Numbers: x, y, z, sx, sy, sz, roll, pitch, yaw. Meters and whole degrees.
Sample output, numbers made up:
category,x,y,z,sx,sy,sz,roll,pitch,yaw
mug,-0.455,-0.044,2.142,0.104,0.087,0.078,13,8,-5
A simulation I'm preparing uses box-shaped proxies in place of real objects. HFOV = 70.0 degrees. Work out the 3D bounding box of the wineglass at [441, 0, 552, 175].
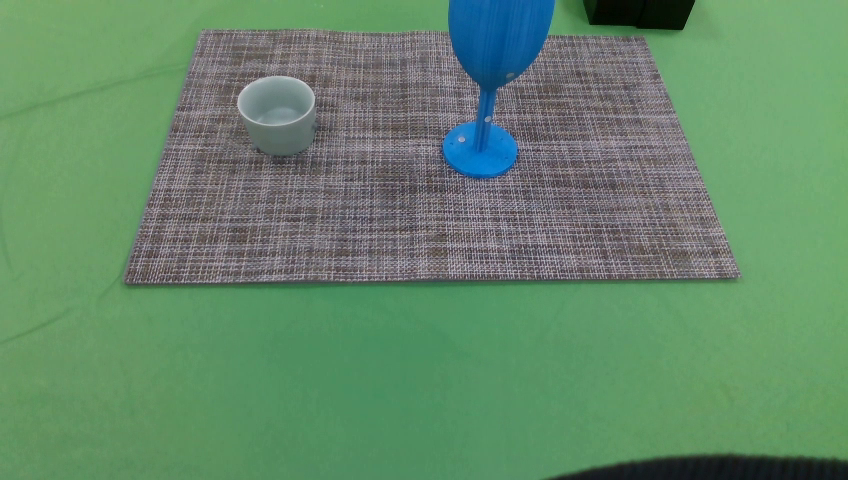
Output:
category,x,y,z,sx,sy,sz,roll,pitch,yaw
wineglass,0.049,-0.131,0.450,0.074,0.173,0.073,1,53,-1

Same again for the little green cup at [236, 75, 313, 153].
category,x,y,z,sx,sy,sz,roll,pitch,yaw
little green cup,-0.122,-0.104,0.505,0.061,0.039,0.061,1,53,-1
